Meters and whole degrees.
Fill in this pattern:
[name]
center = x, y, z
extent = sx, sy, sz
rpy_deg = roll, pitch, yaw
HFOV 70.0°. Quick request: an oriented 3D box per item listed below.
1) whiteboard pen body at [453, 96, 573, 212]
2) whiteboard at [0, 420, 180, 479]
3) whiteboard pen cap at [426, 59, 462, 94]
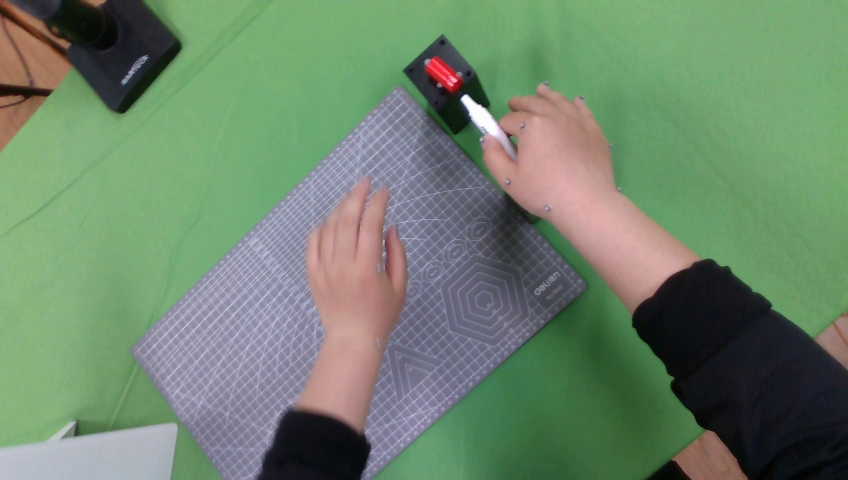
[whiteboard pen body]
center = 0.076, -0.077, 0.526
extent = 0.140, 0.017, 0.017
rpy_deg = 45, 97, 4
[whiteboard]
center = -0.440, 0.294, 0.615
extent = 0.143, 0.308, 0.217
rpy_deg = 8, 88, 33
[whiteboard pen cap]
center = 0.018, -0.148, 0.548
extent = 0.032, 0.017, 0.017
rpy_deg = 43, 96, 10
